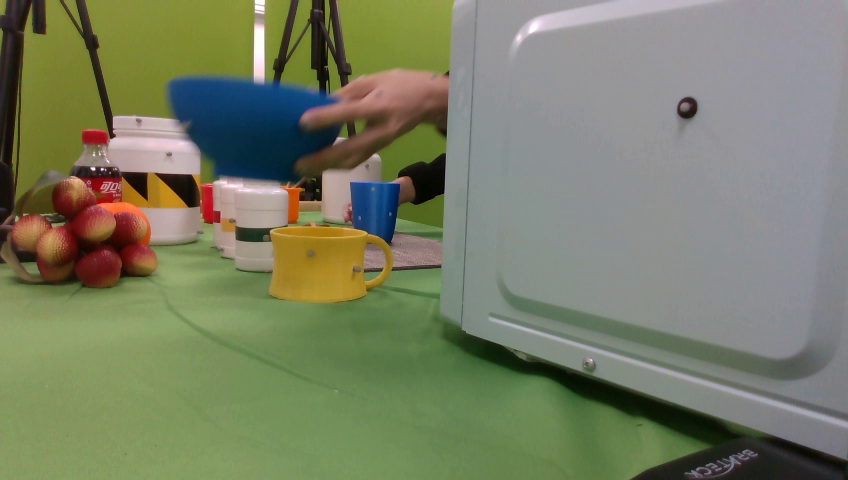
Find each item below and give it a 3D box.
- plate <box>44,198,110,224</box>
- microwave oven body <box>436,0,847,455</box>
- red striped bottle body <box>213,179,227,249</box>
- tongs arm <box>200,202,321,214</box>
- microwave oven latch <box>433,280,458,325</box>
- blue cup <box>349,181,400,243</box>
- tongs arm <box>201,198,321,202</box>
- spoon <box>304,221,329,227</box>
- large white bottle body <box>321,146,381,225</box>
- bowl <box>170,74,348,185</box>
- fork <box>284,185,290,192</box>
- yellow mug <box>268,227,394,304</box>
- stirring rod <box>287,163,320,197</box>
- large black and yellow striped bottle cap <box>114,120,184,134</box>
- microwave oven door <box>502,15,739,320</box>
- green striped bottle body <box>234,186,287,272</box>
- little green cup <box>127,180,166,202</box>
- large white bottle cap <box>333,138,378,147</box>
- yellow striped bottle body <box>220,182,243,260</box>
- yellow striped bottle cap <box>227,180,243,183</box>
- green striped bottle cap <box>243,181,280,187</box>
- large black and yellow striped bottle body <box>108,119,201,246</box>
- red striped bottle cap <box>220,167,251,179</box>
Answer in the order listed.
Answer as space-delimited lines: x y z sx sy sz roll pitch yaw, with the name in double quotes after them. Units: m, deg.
-0.617 -0.056 1.179 0.209 0.038 0.209 3 7 0 "plate"
0.279 -0.040 0.465 0.444 0.260 0.324 -3 9 -41 "microwave oven body"
-0.284 -0.048 0.910 0.063 0.119 0.063 3 12 0 "red striped bottle body"
-0.378 -0.079 1.440 0.387 0.026 0.050 -4 7 -44 "tongs arm"
0.043 0.045 0.470 0.079 0.029 0.030 -2 8 -38 "microwave oven latch"
-0.083 -0.047 1.012 0.093 0.100 0.092 1 6 0 "blue cup"
-0.433 -0.089 1.508 0.390 0.028 0.028 -1 2 -29 "tongs arm"
-0.204 -0.025 1.107 0.042 0.021 0.193 -22 13 -13 "spoon"
-0.162 -0.131 1.340 0.131 0.184 0.130 2 8 0 "large white bottle body"
-0.145 -0.090 0.533 0.151 0.077 0.151 4 3 0 "bowl"
-0.295 -0.116 1.323 0.028 0.019 0.207 0 50 21 "fork"
-0.094 0.023 0.630 0.131 0.064 0.099 0 8 -22 "yellow mug"
-0.283 -0.107 1.298 0.014 0.006 0.176 10 52 51 "stirring rod"
-0.407 -0.171 0.920 0.115 0.019 0.115 2 9 0 "large black and yellow striped bottle cap"
0.217 -0.065 0.601 0.358 0.243 0.039 -4 10 -41 "microwave oven door"
-0.201 -0.023 0.743 0.063 0.119 0.063 2 7 0 "green striped bottle body"
-0.486 -0.086 1.061 0.061 0.038 0.061 1 7 0 "little green cup"
-0.158 -0.214 1.329 0.115 0.018 0.115 2 8 0 "large white bottle cap"
-0.245 -0.036 0.825 0.063 0.120 0.063 3 8 0 "yellow striped bottle body"
-0.243 -0.086 0.818 0.044 0.018 0.044 3 7 0 "yellow striped bottle cap"
-0.198 -0.074 0.736 0.044 0.020 0.044 1 7 0 "green striped bottle cap"
-0.412 -0.088 0.930 0.131 0.184 0.130 3 7 0 "large black and yellow striped bottle body"
-0.281 -0.100 0.901 0.044 0.017 0.044 -1 5 0 "red striped bottle cap"
